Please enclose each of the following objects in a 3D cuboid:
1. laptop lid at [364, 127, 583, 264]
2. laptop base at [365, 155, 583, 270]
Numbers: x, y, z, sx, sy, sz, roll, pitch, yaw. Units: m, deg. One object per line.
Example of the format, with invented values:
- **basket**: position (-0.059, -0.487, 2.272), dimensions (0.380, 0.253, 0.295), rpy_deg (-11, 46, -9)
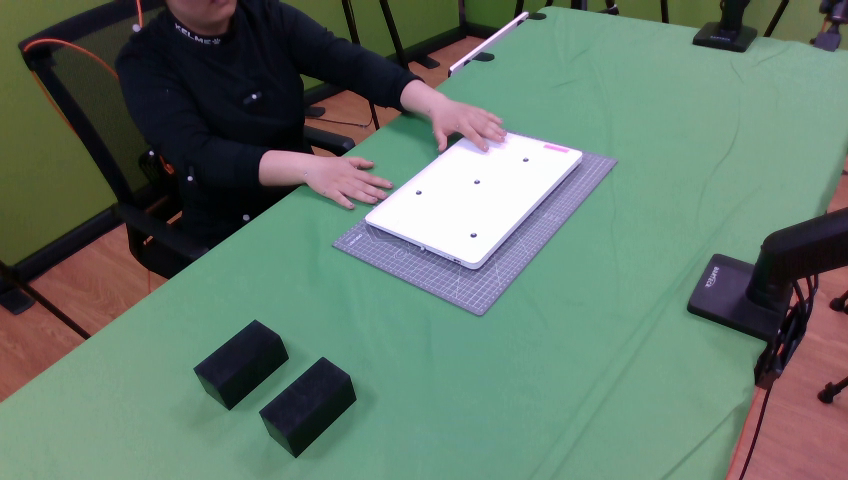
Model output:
- **laptop lid**: position (0.092, -0.096, 1.053), dimensions (0.239, 0.013, 0.358), rpy_deg (23, 48, 34)
- **laptop base**: position (0.096, -0.086, 1.059), dimensions (0.233, 0.023, 0.355), rpy_deg (20, 47, 33)
